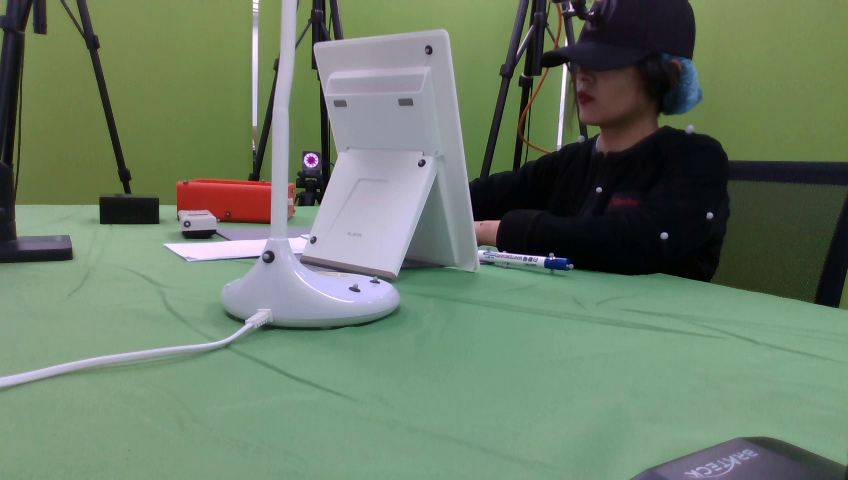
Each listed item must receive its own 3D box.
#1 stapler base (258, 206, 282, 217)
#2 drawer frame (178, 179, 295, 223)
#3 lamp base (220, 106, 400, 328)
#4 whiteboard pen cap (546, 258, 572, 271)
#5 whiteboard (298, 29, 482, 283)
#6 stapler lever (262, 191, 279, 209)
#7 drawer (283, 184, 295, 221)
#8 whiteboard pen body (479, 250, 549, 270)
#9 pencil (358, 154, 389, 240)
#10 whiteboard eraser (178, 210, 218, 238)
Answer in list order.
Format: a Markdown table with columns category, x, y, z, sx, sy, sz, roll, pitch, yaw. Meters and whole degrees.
| category | x | y | z | sx | sy | sz | roll | pitch | yaw |
| --- | --- | --- | --- | --- | --- | --- | --- | --- | --- |
| stapler base | -0.331 | -0.065 | 1.305 | 0.041 | 0.024 | 0.130 | 9 | -2 | -9 |
| drawer frame | -0.397 | -0.088 | 1.315 | 0.214 | 0.082 | 0.201 | 1 | 8 | -7 |
| lamp base | -0.101 | -0.023 | 0.531 | 0.160 | 0.180 | 0.179 | 4 | 10 | 10 |
| whiteboard pen cap | 0.175 | 0.032 | 0.790 | 0.033 | 0.018 | 0.018 | 3 | 7 | 37 |
| whiteboard | -0.075 | -0.082 | 0.741 | 0.216 | 0.305 | 0.144 | 9 | 29 | 37 |
| stapler lever | -0.329 | -0.086 | 1.306 | 0.027 | 0.040 | 0.118 | 9 | 3 | -9 |
| drawer | -0.394 | -0.087 | 1.317 | 0.212 | 0.073 | 0.194 | 1 | 8 | -7 |
| whiteboard pen body | 0.130 | 0.028 | 0.827 | 0.140 | 0.017 | 0.017 | 7 | 9 | 38 |
| pencil | -0.087 | -0.077 | 1.038 | 0.012 | 0.194 | 0.012 | 9 | -35 | 7 |
| whiteboard eraser | -0.380 | -0.027 | 1.014 | 0.056 | 0.042 | 0.112 | 0 | 8 | -25 |
